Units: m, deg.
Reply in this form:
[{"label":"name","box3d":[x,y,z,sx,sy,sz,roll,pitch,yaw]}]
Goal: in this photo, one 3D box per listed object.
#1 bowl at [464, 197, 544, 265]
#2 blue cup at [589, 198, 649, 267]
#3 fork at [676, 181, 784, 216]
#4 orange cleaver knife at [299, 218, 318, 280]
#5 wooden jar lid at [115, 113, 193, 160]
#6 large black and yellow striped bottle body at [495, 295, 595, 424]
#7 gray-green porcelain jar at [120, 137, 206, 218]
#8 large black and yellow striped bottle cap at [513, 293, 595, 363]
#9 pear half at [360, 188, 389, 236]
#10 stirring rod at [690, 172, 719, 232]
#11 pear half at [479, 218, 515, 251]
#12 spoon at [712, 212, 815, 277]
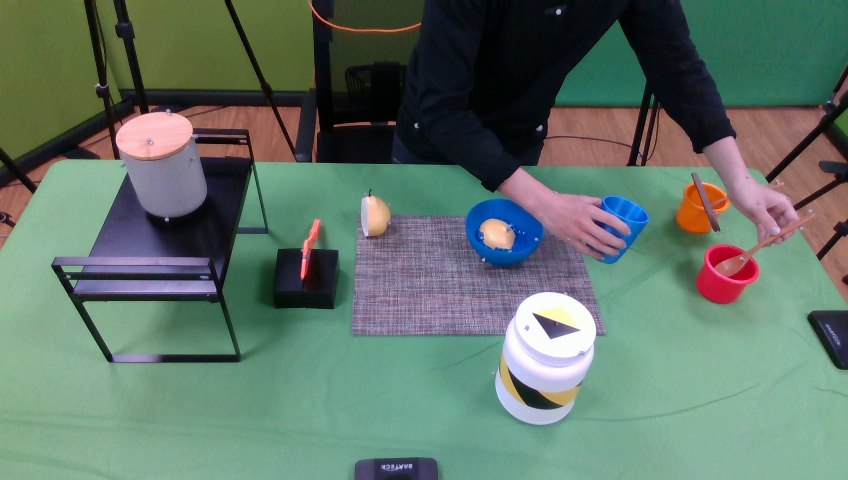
[{"label":"bowl","box3d":[0.149,-0.004,1.167,0.151,0.077,0.150,2,46,-2]},{"label":"blue cup","box3d":[0.335,-0.010,1.068,0.093,0.100,0.092,10,30,-5]},{"label":"fork","box3d":[0.618,-0.084,1.234,0.207,0.019,0.028,-23,19,38]},{"label":"orange cleaver knife","box3d":[-0.214,0.013,1.125,0.012,0.077,0.210,6,17,-5]},{"label":"wooden jar lid","box3d":[-0.399,-0.151,0.900,0.108,0.021,0.107,3,46,-3]},{"label":"large black and yellow striped bottle body","box3d":[0.183,0.182,0.923,0.131,0.185,0.130,2,46,-2]},{"label":"gray-green porcelain jar","box3d":[-0.403,-0.106,0.946,0.106,0.127,0.105,3,46,-2]},{"label":"large black and yellow striped bottle cap","box3d":[0.186,0.123,0.863,0.115,0.019,0.114,3,45,-3]},{"label":"pear half","box3d":[-0.096,-0.060,1.181,0.056,0.110,0.076,-13,52,-17]},{"label":"stirring rod","box3d":[0.566,-0.080,1.225,0.014,0.006,0.175,3,46,2]},{"label":"pear half","box3d":[0.145,-0.013,1.167,0.070,0.031,0.087,-21,56,-19]},{"label":"spoon","box3d":[0.603,0.009,1.083,0.022,0.194,0.041,33,37,-16]}]
